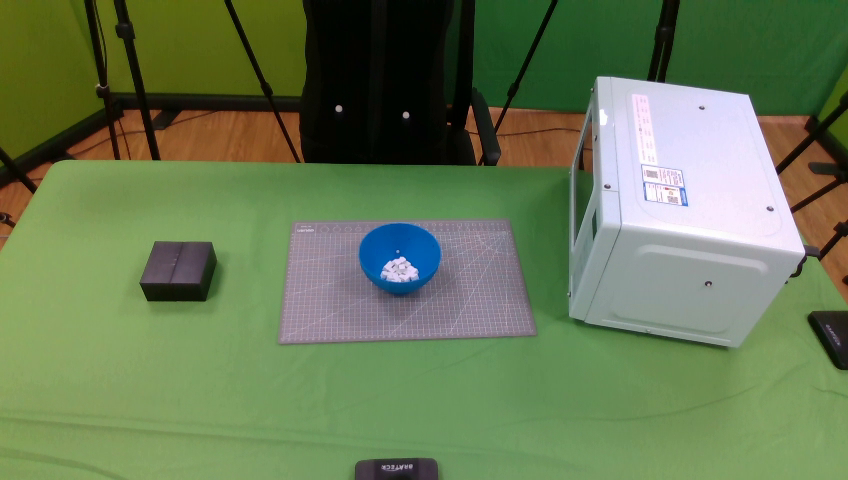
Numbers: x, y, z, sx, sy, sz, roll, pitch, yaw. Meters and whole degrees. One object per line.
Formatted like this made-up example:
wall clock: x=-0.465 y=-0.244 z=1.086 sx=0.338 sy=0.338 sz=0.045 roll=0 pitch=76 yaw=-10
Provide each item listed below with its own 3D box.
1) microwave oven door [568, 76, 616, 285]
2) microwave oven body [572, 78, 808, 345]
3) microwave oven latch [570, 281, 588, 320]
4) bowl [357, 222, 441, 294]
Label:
microwave oven door: x=0.319 y=-0.119 z=1.161 sx=0.039 sy=0.245 sz=0.354 roll=9 pitch=46 yaw=5
microwave oven body: x=0.456 y=-0.063 z=1.124 sx=0.326 sy=0.261 sz=0.439 roll=8 pitch=45 yaw=5
microwave oven latch: x=0.275 y=0.105 z=1.082 sx=0.030 sy=0.029 sz=0.079 roll=9 pitch=45 yaw=6
bowl: x=-0.047 y=0.046 z=1.107 sx=0.151 sy=0.077 sz=0.150 roll=2 pitch=46 yaw=-2
